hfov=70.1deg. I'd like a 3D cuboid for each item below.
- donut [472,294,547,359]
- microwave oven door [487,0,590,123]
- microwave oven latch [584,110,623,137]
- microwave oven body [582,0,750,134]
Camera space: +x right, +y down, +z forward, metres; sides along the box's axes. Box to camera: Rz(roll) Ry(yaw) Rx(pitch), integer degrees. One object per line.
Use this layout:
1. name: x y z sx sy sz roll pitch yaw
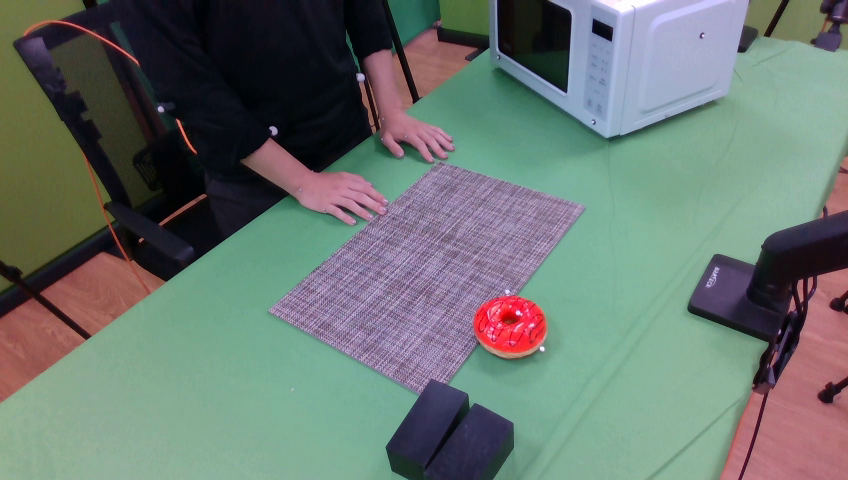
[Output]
1. donut: 0.114 0.114 0.803 0.099 0.048 0.098 0 40 1
2. microwave oven door: 0.232 -0.420 1.231 0.039 0.245 0.352 -22 43 -16
3. microwave oven latch: 0.337 -0.222 1.142 0.030 0.029 0.078 -21 42 -14
4. microwave oven body: 0.382 -0.444 1.246 0.327 0.261 0.437 -22 42 -16
